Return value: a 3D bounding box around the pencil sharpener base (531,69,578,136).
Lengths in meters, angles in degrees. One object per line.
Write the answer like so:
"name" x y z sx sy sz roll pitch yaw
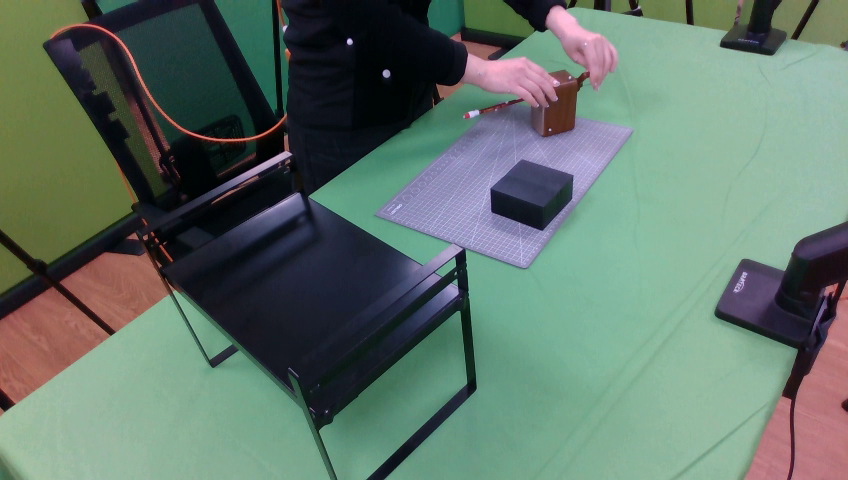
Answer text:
"pencil sharpener base" 0.256 -0.268 1.179 0.077 0.107 0.061 -15 41 -9

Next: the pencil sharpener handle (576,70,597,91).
"pencil sharpener handle" 0.304 -0.304 1.154 0.031 0.067 0.036 -15 84 -9

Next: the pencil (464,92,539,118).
"pencil" 0.167 -0.263 1.148 0.194 0.012 0.012 -17 41 -6
